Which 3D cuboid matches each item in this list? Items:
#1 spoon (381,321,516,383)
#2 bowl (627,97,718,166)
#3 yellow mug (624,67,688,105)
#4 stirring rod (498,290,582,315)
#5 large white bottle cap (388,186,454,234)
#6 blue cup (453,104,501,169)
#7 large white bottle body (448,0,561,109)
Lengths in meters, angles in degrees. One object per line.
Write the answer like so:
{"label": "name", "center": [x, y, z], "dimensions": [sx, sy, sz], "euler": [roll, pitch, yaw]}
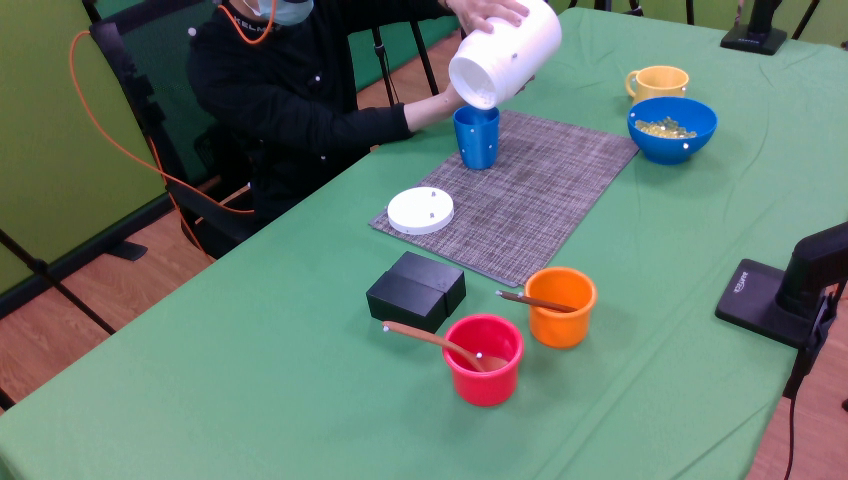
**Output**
{"label": "spoon", "center": [0.033, 0.131, 0.725], "dimensions": [0.195, 0.021, 0.041], "euler": [29, 29, -26]}
{"label": "bowl", "center": [0.439, -0.187, 1.087], "dimensions": [0.151, 0.077, 0.150], "euler": [-4, 41, 4]}
{"label": "yellow mug", "center": [0.465, -0.305, 1.230], "dimensions": [0.100, 0.064, 0.129], "euler": [-34, 46, -27]}
{"label": "stirring rod", "center": [0.152, 0.081, 0.771], "dimensions": [0.178, 0.006, 0.014], "euler": [16, 19, -44]}
{"label": "large white bottle cap", "center": [-0.006, -0.052, 1.036], "dimensions": [0.115, 0.018, 0.114], "euler": [-4, 40, 4]}
{"label": "blue cup", "center": [0.100, -0.188, 1.114], "dimensions": [0.092, 0.100, 0.092], "euler": [-4, 39, 4]}
{"label": "large white bottle body", "center": [0.141, -0.331, 1.075], "dimensions": [0.129, 0.131, 0.185], "euler": [28, 65, 35]}
